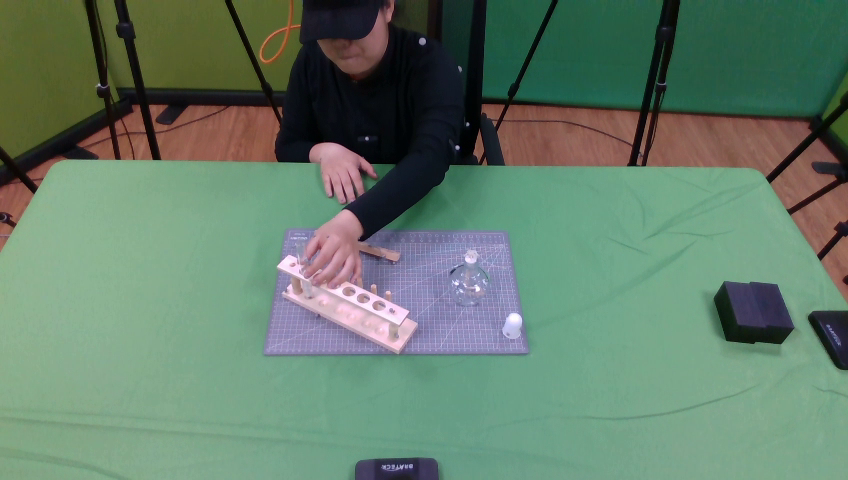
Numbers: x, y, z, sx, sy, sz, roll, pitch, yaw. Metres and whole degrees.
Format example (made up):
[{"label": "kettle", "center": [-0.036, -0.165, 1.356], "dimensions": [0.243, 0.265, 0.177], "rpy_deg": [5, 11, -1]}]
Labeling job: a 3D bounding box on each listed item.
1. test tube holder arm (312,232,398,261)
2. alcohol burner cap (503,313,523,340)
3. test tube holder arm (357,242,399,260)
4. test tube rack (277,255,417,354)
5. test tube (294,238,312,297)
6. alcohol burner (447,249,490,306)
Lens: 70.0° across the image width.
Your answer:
[{"label": "test tube holder arm", "center": [-0.135, 0.012, 1.176], "dimensions": [0.178, 0.015, 0.013], "rpy_deg": [14, 14, 12]}, {"label": "alcohol burner cap", "center": [0.155, 0.148, 1.051], "dimensions": [0.034, 0.048, 0.033], "rpy_deg": [1, 45, -1]}, {"label": "test tube holder arm", "center": [-0.091, 0.022, 1.172], "dimensions": [0.087, 0.015, 0.010], "rpy_deg": [15, 14, 12]}, {"label": "test tube rack", "center": [-0.132, 0.099, 1.045], "dimensions": [0.241, 0.085, 0.066], "rpy_deg": [23, 49, 17]}, {"label": "test tube", "center": [-0.202, 0.050, 1.018], "dimensions": [0.017, 0.151, 0.017], "rpy_deg": [2, 50, -2]}, {"label": "alcohol burner", "center": [0.081, 0.062, 1.078], "dimensions": [0.078, 0.120, 0.077], "rpy_deg": [1, 45, -1]}]
